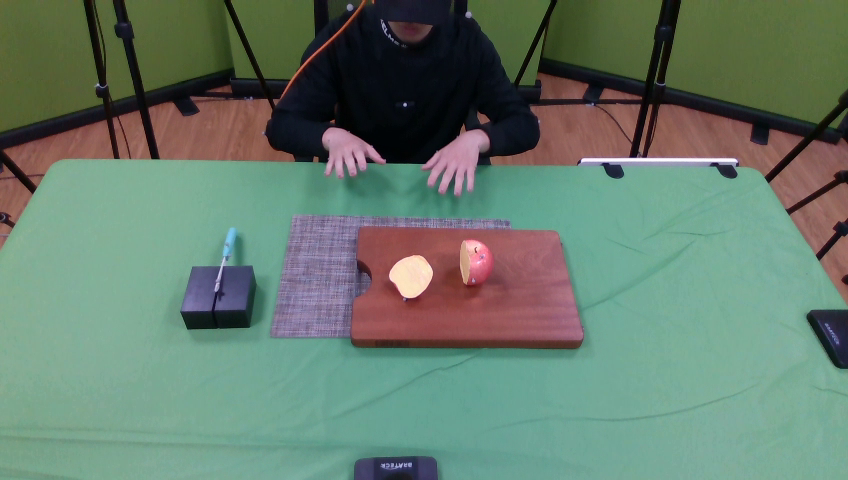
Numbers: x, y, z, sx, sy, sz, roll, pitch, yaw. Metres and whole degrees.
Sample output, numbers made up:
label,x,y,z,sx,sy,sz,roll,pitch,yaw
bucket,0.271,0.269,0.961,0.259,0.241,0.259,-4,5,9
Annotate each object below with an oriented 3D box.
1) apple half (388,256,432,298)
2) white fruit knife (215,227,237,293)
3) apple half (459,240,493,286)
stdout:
label,x,y,z,sx,sy,sz,roll,pitch,yaw
apple half,-0.019,0.069,1.080,0.081,0.033,0.081,-6,62,12
white fruit knife,-0.360,0.033,1.100,0.016,0.027,0.206,0,32,-9
apple half,0.096,0.042,1.093,0.053,0.075,0.080,-1,42,-11
